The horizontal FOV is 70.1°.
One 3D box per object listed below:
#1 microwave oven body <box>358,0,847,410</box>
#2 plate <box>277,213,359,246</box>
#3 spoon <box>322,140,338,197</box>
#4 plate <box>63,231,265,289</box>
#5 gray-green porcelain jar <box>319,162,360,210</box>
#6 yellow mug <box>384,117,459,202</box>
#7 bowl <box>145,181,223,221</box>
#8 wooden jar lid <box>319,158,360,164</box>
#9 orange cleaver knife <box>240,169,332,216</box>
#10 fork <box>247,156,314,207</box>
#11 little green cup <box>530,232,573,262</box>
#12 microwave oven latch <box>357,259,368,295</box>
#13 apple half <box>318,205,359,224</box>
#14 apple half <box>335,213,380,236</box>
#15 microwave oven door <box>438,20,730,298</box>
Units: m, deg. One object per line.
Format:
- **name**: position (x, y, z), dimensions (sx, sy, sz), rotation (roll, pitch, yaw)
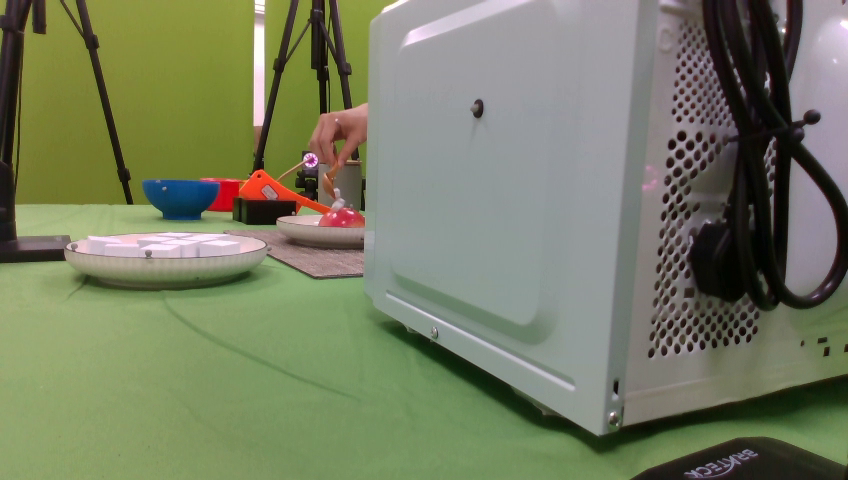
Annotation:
- **microwave oven body**: position (0.210, -0.051, 0.471), dimensions (0.444, 0.260, 0.324), rotation (-1, 7, -28)
- **plate**: position (-0.135, -0.018, 0.993), dimensions (0.209, 0.038, 0.209), rotation (2, 7, 0)
- **spoon**: position (-0.152, -0.125, 1.004), dimensions (0.021, 0.042, 0.193), rotation (-12, 31, 5)
- **plate**: position (-0.288, 0.021, 0.687), dimensions (0.208, 0.039, 0.207), rotation (2, 8, 0)
- **gray-green porcelain jar**: position (-0.204, -0.126, 1.489), dimensions (0.106, 0.126, 0.106), rotation (2, 7, 0)
- **yellow mug**: position (0.004, -0.129, 0.930), dimensions (0.064, 0.130, 0.100), rotation (47, 31, 23)
- **bowl**: position (-0.499, -0.081, 1.261), dimensions (0.151, 0.077, 0.151), rotation (2, 8, 0)
- **wooden jar lid**: position (-0.203, -0.189, 1.482), dimensions (0.108, 0.020, 0.108), rotation (2, 10, 0)
- **orange cleaver knife**: position (-0.286, -0.082, 1.298), dimensions (0.212, 0.077, 0.012), rotation (25, -2, -31)
- **fork**: position (-0.360, -0.147, 1.523), dimensions (0.207, 0.018, 0.028), rotation (-43, 15, -6)
- **little green cup**: position (0.184, 0.010, 0.879), dimensions (0.061, 0.038, 0.061), rotation (2, 5, 0)
- **microwave oven latch**: position (-0.019, 0.031, 0.529), dimensions (0.079, 0.029, 0.030), rotation (-1, 7, -26)
- **apple half**: position (-0.126, -0.028, 0.954), dimensions (0.081, 0.053, 0.074), rotation (-2, 10, -33)
- **apple half**: position (-0.112, -0.029, 1.034), dimensions (0.081, 0.033, 0.081), rotation (0, 10, 0)
- **microwave oven door**: position (0.181, -0.076, 0.618), dimensions (0.358, 0.243, 0.039), rotation (-2, 8, -28)
